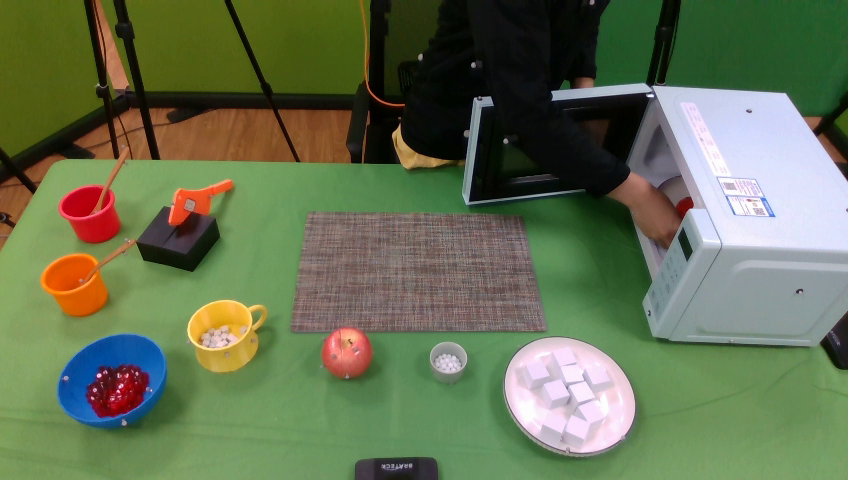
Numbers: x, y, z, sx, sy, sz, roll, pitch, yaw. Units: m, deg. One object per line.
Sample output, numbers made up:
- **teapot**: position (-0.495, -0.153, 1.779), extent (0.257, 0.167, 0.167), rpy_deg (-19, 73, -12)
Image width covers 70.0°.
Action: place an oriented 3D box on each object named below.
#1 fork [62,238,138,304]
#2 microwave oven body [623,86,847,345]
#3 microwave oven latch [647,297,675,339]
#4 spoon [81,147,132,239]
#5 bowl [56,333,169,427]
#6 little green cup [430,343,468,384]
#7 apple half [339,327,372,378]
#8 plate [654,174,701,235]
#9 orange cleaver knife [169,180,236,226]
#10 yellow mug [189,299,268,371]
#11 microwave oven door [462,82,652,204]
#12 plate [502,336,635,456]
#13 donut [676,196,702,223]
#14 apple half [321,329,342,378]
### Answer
- **fork**: position (-0.547, 0.053, 1.019), extent (0.207, 0.019, 0.028), rpy_deg (-36, 40, 23)
- **microwave oven body**: position (0.567, -0.053, 1.118), extent (0.326, 0.261, 0.439), rpy_deg (2, 45, -1)
- **microwave oven latch**: position (0.413, 0.134, 1.060), extent (0.030, 0.029, 0.078), rpy_deg (5, 45, 2)
- **spoon**: position (-0.603, -0.089, 1.156), extent (0.041, 0.022, 0.193), rpy_deg (28, 94, 18)
- **bowl**: position (-0.456, 0.222, 0.912), extent (0.151, 0.077, 0.150), rpy_deg (3, 46, -2)
- **little green cup**: position (0.039, 0.203, 0.993), extent (0.061, 0.039, 0.061), rpy_deg (2, 46, -2)
- **apple half**: position (-0.111, 0.182, 0.980), extent (0.053, 0.075, 0.080), rpy_deg (-2, 42, -12)
- **plate**: position (0.554, -0.050, 1.185), extent (0.209, 0.038, 0.208), rpy_deg (1, 45, -1)
- **orange cleaver knife**: position (-0.435, -0.076, 1.199), extent (0.012, 0.077, 0.211), rpy_deg (17, 17, 9)
- **yellow mug**: position (-0.316, 0.148, 1.002), extent (0.131, 0.064, 0.099), rpy_deg (-33, 56, -31)
- **microwave oven door**: position (0.261, -0.194, 1.226), extent (0.356, 0.245, 0.039), rpy_deg (-8, 47, -11)
- **plate**: position (0.225, 0.248, 0.963), extent (0.208, 0.039, 0.206), rpy_deg (2, 46, -2)
- **donut**: position (0.537, -0.049, 1.169), extent (0.099, 0.048, 0.098), rpy_deg (4, 42, -3)
- **apple half**: position (-0.149, 0.186, 0.972), extent (0.033, 0.081, 0.080), rpy_deg (-2, 46, -13)
